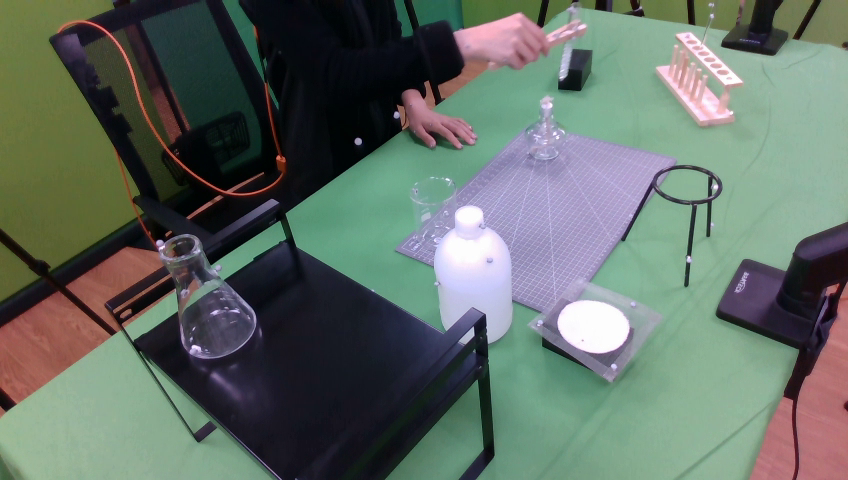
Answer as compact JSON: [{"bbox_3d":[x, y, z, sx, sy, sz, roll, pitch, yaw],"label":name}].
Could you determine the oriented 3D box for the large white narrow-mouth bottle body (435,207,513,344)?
[{"bbox_3d":[0.065,0.041,0.791,0.102,0.195,0.101,-4,41,4],"label":"large white narrow-mouth bottle body"}]

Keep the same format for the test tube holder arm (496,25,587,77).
[{"bbox_3d":[0.189,-0.303,0.963,0.179,0.015,0.013,-31,48,-17],"label":"test tube holder arm"}]

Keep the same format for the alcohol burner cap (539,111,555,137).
[{"bbox_3d":[0.243,-0.232,1.197,0.034,0.048,0.033,-5,38,4],"label":"alcohol burner cap"}]

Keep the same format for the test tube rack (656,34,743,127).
[{"bbox_3d":[0.553,-0.331,1.233,0.067,0.085,0.241,-7,40,2],"label":"test tube rack"}]

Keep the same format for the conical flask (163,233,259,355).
[{"bbox_3d":[-0.216,0.051,0.601,0.075,0.122,0.075,-4,40,4],"label":"conical flask"}]

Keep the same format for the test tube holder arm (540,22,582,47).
[{"bbox_3d":[0.222,-0.329,0.980,0.088,0.015,0.010,-35,49,-20],"label":"test tube holder arm"}]

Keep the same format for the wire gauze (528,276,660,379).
[{"bbox_3d":[0.213,0.103,0.763,0.124,0.011,0.122,30,52,35],"label":"wire gauze"}]

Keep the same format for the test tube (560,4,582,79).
[{"bbox_3d":[0.244,-0.326,1.006,0.017,0.151,0.017,-2,59,3],"label":"test tube"}]

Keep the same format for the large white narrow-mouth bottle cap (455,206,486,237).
[{"bbox_3d":[0.057,-0.023,0.734,0.038,0.024,0.037,-4,41,4],"label":"large white narrow-mouth bottle cap"}]

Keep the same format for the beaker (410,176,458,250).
[{"bbox_3d":[0.022,-0.041,0.964,0.073,0.101,0.084,28,51,35],"label":"beaker"}]

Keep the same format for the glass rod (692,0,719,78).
[{"bbox_3d":[0.561,-0.401,1.214,0.008,0.200,0.008,-1,48,2],"label":"glass rod"}]

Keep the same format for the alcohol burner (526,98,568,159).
[{"bbox_3d":[0.228,-0.210,1.118,0.078,0.119,0.077,-5,43,5],"label":"alcohol burner"}]

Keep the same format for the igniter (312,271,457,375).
[{"bbox_3d":[-0.068,0.111,0.859,0.274,0.025,0.057,27,61,34],"label":"igniter"}]

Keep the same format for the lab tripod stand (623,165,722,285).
[{"bbox_3d":[0.365,-0.030,0.875,0.148,0.132,0.147,-6,41,6],"label":"lab tripod stand"}]
